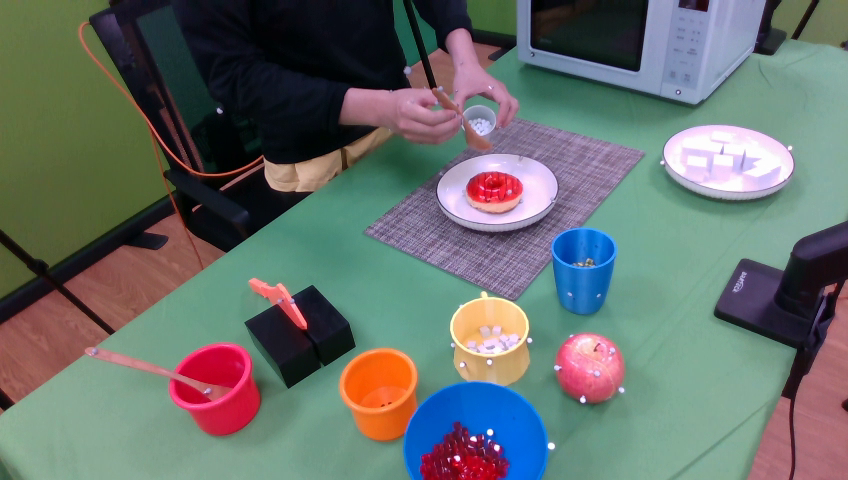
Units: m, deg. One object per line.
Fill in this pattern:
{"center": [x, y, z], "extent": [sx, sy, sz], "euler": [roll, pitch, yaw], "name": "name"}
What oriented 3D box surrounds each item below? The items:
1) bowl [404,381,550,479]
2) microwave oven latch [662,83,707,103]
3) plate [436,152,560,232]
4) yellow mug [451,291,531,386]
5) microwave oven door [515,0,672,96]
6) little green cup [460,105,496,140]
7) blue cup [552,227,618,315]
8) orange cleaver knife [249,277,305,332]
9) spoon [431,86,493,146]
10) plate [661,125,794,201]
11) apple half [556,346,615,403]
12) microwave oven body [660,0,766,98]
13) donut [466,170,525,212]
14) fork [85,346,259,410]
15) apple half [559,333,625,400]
{"center": [0.058, 0.235, 0.645], "extent": [0.151, 0.077, 0.150], "euler": [-4, 39, 4], "name": "bowl"}
{"center": [0.517, -0.296, 1.204], "extent": [0.078, 0.029, 0.030], "euler": [27, 52, 35], "name": "microwave oven latch"}
{"center": [0.125, -0.078, 1.029], "extent": [0.209, 0.038, 0.208], "euler": [-4, 40, 4], "name": "plate"}
{"center": [0.085, 0.120, 0.786], "extent": [0.100, 0.064, 0.130], "euler": [-7, 39, 1], "name": "yellow mug"}
{"center": [0.344, -0.455, 1.260], "extent": [0.353, 0.245, 0.039], "euler": [26, 51, 33], "name": "microwave oven door"}
{"center": [0.093, -0.195, 1.036], "extent": [0.061, 0.039, 0.061], "euler": [-1, 69, 4], "name": "little green cup"}
{"center": [0.218, 0.047, 0.825], "extent": [0.092, 0.100, 0.092], "euler": [-6, 39, 5], "name": "blue cup"}
{"center": [-0.210, 0.088, 0.855], "extent": [0.012, 0.077, 0.210], "euler": [-28, 15, -25], "name": "orange cleaver knife"}
{"center": [0.055, -0.183, 0.904], "extent": [0.041, 0.195, 0.021], "euler": [5, 73, 30], "name": "spoon"}
{"center": [0.513, -0.128, 1.035], "extent": [0.207, 0.039, 0.206], "euler": [-4, 40, 4], "name": "plate"}
{"center": [0.181, 0.167, 0.709], "extent": [0.080, 0.081, 0.033], "euler": [29, 50, 35], "name": "apple half"}
{"center": [0.472, -0.513, 1.317], "extent": [0.438, 0.261, 0.327], "euler": [26, 51, 34], "name": "microwave oven body"}
{"center": [0.120, -0.083, 1.019], "extent": [0.099, 0.048, 0.098], "euler": [-4, 39, 4], "name": "donut"}
{"center": [-0.298, 0.166, 0.728], "extent": [0.209, 0.018, 0.028], "euler": [28, 47, -24], "name": "fork"}
{"center": [0.209, 0.147, 0.730], "extent": [0.080, 0.075, 0.053], "euler": [26, 48, 38], "name": "apple half"}
